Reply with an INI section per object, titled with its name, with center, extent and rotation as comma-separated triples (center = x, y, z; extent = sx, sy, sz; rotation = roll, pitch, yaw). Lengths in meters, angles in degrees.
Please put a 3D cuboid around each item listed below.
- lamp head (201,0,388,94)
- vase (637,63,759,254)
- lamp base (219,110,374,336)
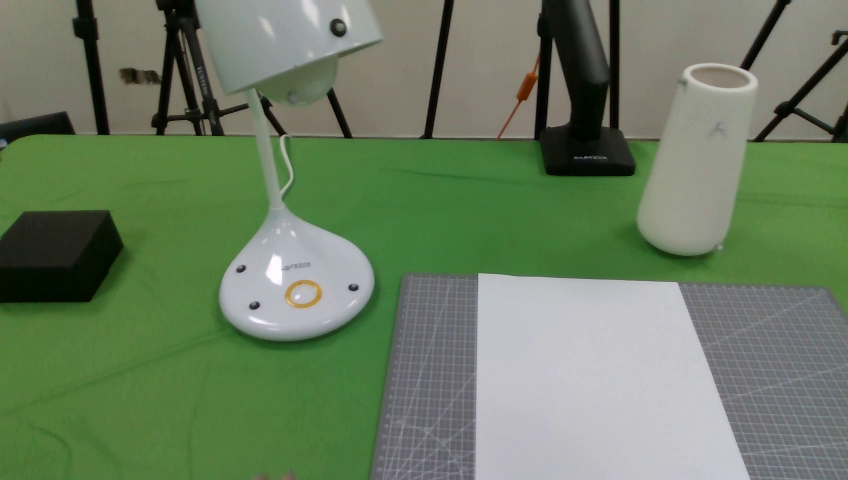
[lamp head]
center = -0.095, -0.166, 0.388
extent = 0.112, 0.123, 0.112
rotation = -21, 13, 5
[vase]
center = 0.292, -0.083, 0.651
extent = 0.098, 0.202, 0.097
rotation = -2, 37, 2
[lamp base]
center = -0.141, -0.025, 0.603
extent = 0.161, 0.182, 0.177
rotation = -18, 39, -21
